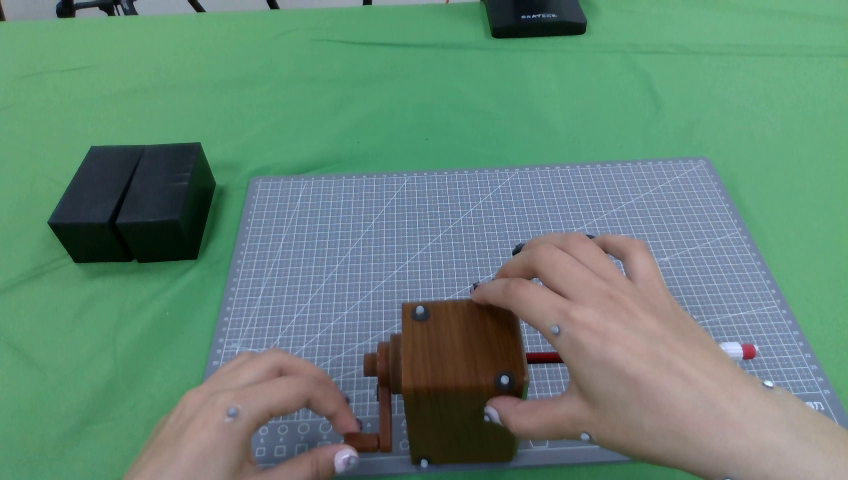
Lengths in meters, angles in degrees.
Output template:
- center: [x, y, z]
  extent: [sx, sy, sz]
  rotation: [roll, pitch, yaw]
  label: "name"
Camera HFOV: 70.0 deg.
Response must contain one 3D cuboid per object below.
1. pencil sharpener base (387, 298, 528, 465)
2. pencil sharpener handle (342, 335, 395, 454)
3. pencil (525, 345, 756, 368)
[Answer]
- center: [0.019, 0.091, 0.378]
  extent: [0.077, 0.108, 0.060]
  rotation: [-3, 48, 0]
  label: "pencil sharpener base"
- center: [-0.033, 0.090, 0.354]
  extent: [0.030, 0.036, 0.067]
  rotation: [-3, 79, 0]
  label: "pencil sharpener handle"
- center: [0.099, 0.071, 0.359]
  extent: [0.194, 0.012, 0.012]
  rotation: [-2, 47, -1]
  label: "pencil"
